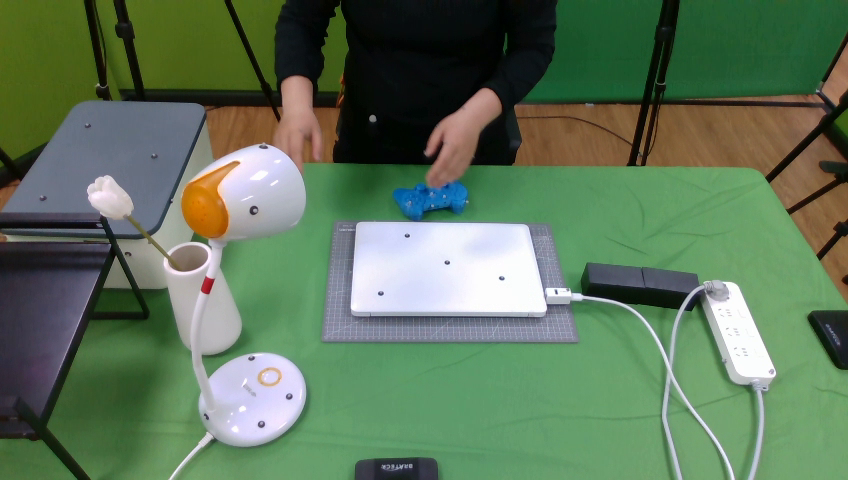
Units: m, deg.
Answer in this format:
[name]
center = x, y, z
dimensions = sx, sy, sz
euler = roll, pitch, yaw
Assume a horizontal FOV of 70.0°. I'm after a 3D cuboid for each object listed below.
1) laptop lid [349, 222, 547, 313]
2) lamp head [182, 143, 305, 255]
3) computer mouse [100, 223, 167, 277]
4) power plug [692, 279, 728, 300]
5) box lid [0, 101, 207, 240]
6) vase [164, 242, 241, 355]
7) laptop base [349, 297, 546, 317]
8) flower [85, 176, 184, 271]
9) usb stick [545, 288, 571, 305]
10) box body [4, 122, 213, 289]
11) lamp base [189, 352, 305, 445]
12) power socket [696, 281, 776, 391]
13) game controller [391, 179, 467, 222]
[laptop lid]
center = 0.041, 0.045, 1.143
dimensions = 0.357, 0.013, 0.240
euler = 2, 44, -3
[lamp head]
center = -0.216, -0.044, 0.697
dimensions = 0.112, 0.113, 0.123
euler = 23, 31, 17
[computer mouse]
center = -0.539, 0.014, 1.122
dimensions = 0.062, 0.041, 0.117
euler = 30, 57, 18
[power plug]
center = 0.522, 0.091, 1.116
dimensions = 0.072, 0.053, 0.035
euler = 10, 47, 8
[box lid]
center = -0.559, -0.137, 1.084
dimensions = 0.263, 0.015, 0.369
euler = 2, 46, -2
[vase]
center = -0.349, 0.096, 0.954
dimensions = 0.098, 0.201, 0.097
euler = 3, 47, -3
[laptop base]
center = 0.041, 0.055, 1.149
dimensions = 0.355, 0.023, 0.234
euler = 1, 42, -4
[flower]
center = -0.365, 0.038, 0.894
dimensions = 0.038, 0.364, 0.044
euler = -5, 53, 14
[usb stick]
center = 0.236, 0.102, 1.101
dimensions = 0.059, 0.027, 0.021
euler = -2, 47, 2
[box body]
center = -0.563, -0.086, 1.138
dimensions = 0.254, 0.161, 0.361
euler = 2, 46, -3
[lamp base]
center = -0.268, 0.196, 0.876
dimensions = 0.160, 0.181, 0.179
euler = 26, 52, 20
[power socket]
center = 0.550, 0.160, 1.078
dimensions = 0.072, 0.033, 0.225
euler = 2, 46, -1
[game controller]
center = 0.015, -0.093, 1.273
dimensions = 0.155, 0.052, 0.096
euler = -11, 53, -14
